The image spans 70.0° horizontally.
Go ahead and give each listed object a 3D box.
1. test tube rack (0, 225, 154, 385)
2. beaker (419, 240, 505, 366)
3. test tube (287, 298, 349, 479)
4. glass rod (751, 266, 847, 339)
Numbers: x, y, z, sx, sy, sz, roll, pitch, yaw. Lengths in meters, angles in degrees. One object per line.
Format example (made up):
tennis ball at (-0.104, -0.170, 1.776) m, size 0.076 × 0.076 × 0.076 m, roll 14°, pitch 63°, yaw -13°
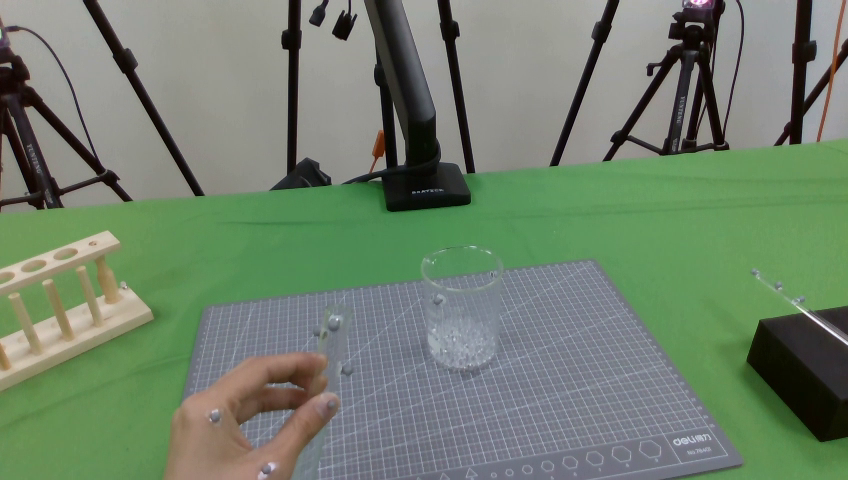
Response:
test tube rack at (-0.399, 0.078, 0.575) m, size 0.242 × 0.086 × 0.066 m, roll -28°, pitch 41°, yaw -35°
beaker at (0.032, 0.060, 0.568) m, size 0.083 × 0.101 × 0.074 m, roll 24°, pitch 40°, yaw 35°
test tube at (-0.065, 0.104, 0.359) m, size 0.017 × 0.151 × 0.017 m, roll 13°, pitch 19°, yaw -4°
glass rod at (0.359, 0.076, 0.524) m, size 0.008 × 0.008 × 0.197 m, roll -12°, pitch 33°, yaw -15°
